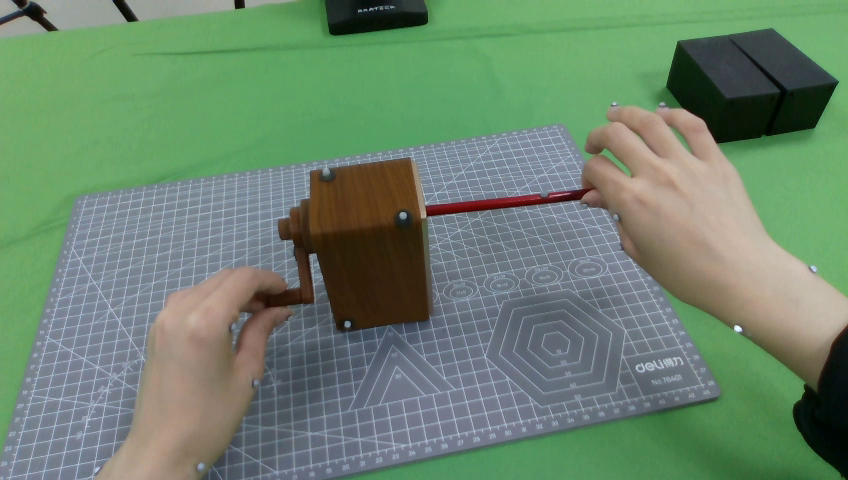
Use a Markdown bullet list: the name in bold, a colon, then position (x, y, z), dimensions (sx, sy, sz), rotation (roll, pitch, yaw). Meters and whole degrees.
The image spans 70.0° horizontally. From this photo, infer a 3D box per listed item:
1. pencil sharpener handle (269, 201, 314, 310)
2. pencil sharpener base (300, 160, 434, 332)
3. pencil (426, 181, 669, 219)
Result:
- **pencil sharpener handle**: position (-0.086, 0.010, 0.386), dimensions (0.031, 0.036, 0.067), rotation (-8, 90, -3)
- **pencil sharpener base**: position (-0.036, 0.007, 0.410), dimensions (0.077, 0.108, 0.060), rotation (-8, 47, -3)
- **pencil**: position (0.069, -0.024, 0.401), dimensions (0.194, 0.012, 0.012), rotation (-6, 46, -6)
